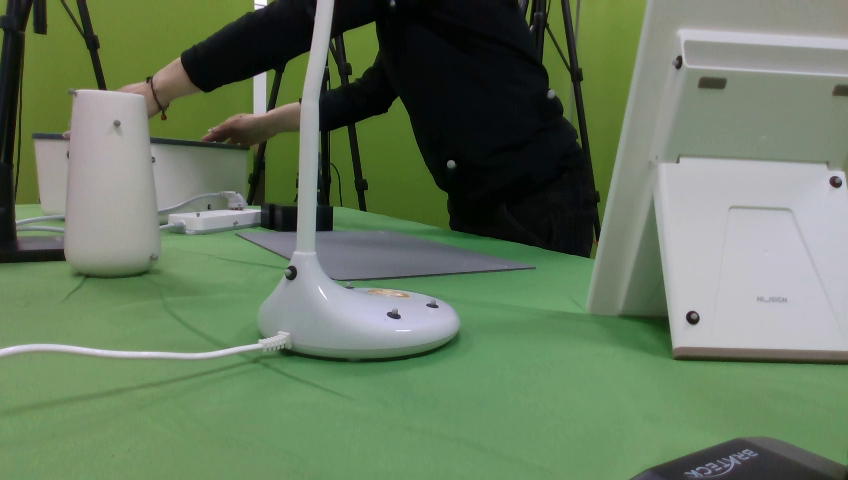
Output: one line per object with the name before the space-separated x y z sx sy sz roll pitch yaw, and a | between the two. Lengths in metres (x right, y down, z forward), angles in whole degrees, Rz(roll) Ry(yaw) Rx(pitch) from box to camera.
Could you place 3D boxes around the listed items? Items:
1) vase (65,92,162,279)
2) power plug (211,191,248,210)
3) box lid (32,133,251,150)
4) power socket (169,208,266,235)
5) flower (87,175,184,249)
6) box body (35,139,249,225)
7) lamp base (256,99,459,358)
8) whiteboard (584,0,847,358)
vase | -0.347 -0.060 0.673 0.098 0.200 0.098 1 7 0
power plug | -0.384 -0.071 1.206 0.072 0.052 0.035 1 7 27
box lid | -0.558 -0.200 1.250 0.263 0.015 0.372 5 8 13
power socket | -0.379 -0.038 1.129 0.072 0.032 0.227 4 8 18
flower | -0.610 -0.063 1.291 0.044 0.038 0.361 -5 25 9
box body | -0.561 -0.127 1.258 0.254 0.160 0.365 4 8 13
lamp base | -0.055 -0.013 0.463 0.160 0.180 0.180 6 11 27
whiteboard | 0.269 -0.034 0.466 0.217 0.305 0.143 2 27 -1
